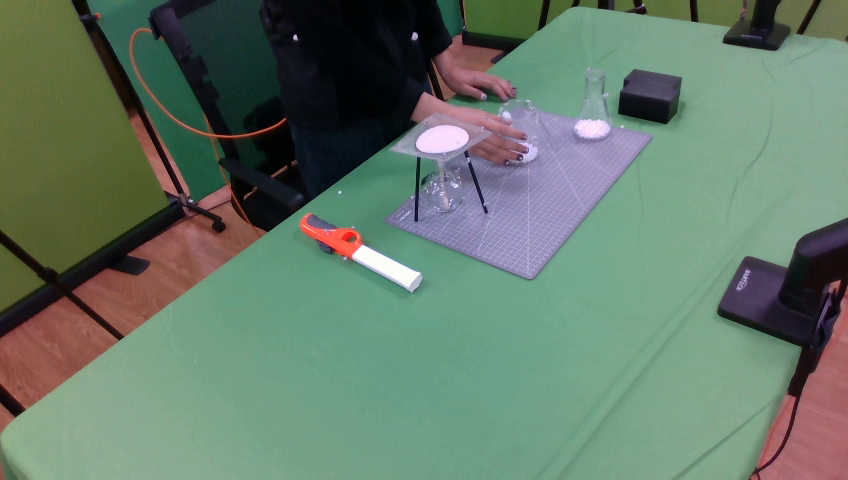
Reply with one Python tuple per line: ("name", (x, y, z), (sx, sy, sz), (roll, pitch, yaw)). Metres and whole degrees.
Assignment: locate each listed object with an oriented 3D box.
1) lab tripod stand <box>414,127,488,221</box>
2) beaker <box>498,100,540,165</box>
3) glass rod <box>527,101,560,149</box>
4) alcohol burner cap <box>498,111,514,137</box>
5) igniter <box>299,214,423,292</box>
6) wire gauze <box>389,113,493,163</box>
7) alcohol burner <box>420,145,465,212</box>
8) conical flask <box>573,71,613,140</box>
("lab tripod stand", (0.035, -0.114, 1.021), (0.148, 0.132, 0.147), (-7, 39, 6))
("beaker", (0.180, -0.196, 1.117), (0.074, 0.101, 0.083), (-25, 43, -17))
("glass rod", (0.240, -0.237, 1.223), (0.008, 0.008, 0.198), (-12, 40, -2))
("alcohol burner cap", (0.163, -0.235, 1.211), (0.034, 0.048, 0.033), (-6, 40, 5))
("igniter", (-0.113, 0.016, 0.983), (0.274, 0.025, 0.057), (26, 62, 35))
("wire gauze", (0.026, -0.164, 0.977), (0.120, 0.011, 0.125), (24, 49, 35))
("alcohol burner", (0.030, -0.108, 1.030), (0.078, 0.119, 0.077), (-5, 38, 4))
("conical flask", (0.321, -0.256, 1.142), (0.075, 0.122, 0.075), (-5, 40, 5))
